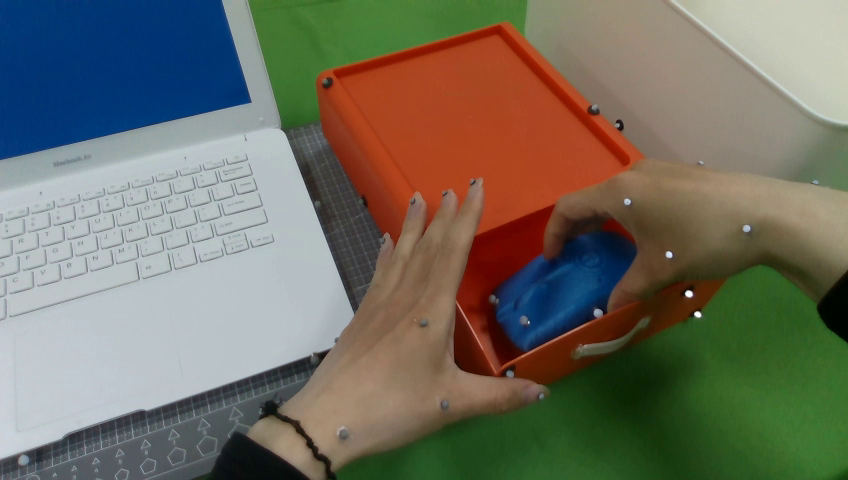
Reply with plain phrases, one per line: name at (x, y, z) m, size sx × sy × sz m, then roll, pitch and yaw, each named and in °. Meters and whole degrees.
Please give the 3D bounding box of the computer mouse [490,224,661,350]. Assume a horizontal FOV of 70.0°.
computer mouse at (0.105, 0.031, 0.435) m, size 0.117 × 0.041 × 0.062 m, roll -25°, pitch 47°, yaw 3°

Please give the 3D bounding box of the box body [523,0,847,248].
box body at (0.285, -0.191, 0.560) m, size 0.254 × 0.162 × 0.360 m, roll -21°, pitch 57°, yaw -17°

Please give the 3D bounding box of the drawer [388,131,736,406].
drawer at (0.085, -0.008, 0.466) m, size 0.195 × 0.074 × 0.209 m, roll -20°, pitch 56°, yaw -17°

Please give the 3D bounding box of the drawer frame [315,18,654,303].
drawer frame at (0.042, -0.078, 0.514) m, size 0.202 × 0.083 × 0.211 m, roll -22°, pitch 57°, yaw -18°

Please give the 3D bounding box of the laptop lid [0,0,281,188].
laptop lid at (-0.314, -0.158, 0.474) m, size 0.357 × 0.243 × 0.013 m, roll -18°, pitch 26°, yaw -14°

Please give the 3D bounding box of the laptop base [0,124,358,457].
laptop base at (-0.251, 0.033, 0.462) m, size 0.355 × 0.023 × 0.233 m, roll -17°, pitch 59°, yaw -14°
